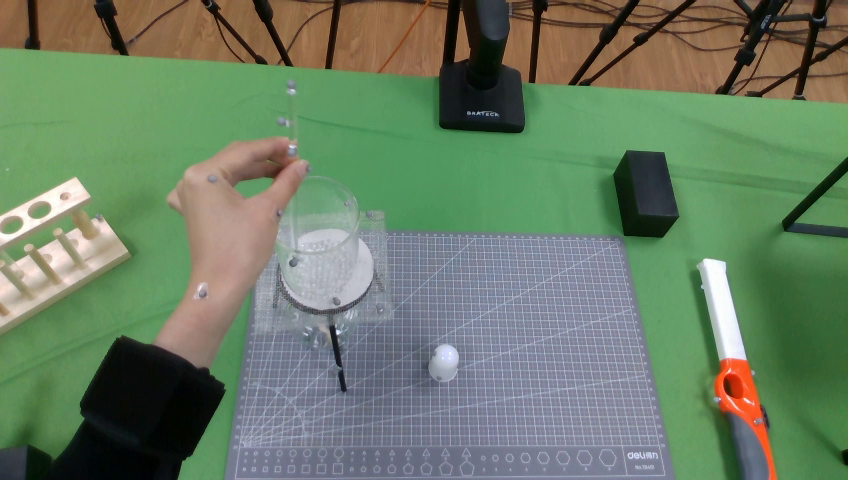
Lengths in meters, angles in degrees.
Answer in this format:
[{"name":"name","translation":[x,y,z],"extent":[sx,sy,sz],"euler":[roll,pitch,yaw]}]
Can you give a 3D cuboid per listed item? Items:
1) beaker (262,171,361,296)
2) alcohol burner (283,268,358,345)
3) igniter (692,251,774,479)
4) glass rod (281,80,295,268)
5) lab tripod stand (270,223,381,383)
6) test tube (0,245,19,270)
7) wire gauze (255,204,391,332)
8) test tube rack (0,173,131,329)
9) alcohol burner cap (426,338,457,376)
[{"name":"beaker","translation":[-0.095,-0.002,0.521],"extent":[0.084,0.101,0.073],"euler":[24,61,8]},{"name":"alcohol burner","translation":[-0.107,0.062,0.627],"extent":[0.078,0.120,0.077],"euler":[4,58,-5]},{"name":"igniter","translation":[0.342,0.136,0.678],"extent":[0.057,0.025,0.274],"euler":[9,59,-12]},{"name":"glass rod","translation":[-0.107,-0.040,0.477],"extent":[0.008,0.201,0.008],"euler":[6,49,-6]},{"name":"lab tripod stand","translation":[-0.097,0.058,0.619],"extent":[0.148,0.132,0.147],"euler":[3,60,-5]},{"name":"test tube","translation":[-0.442,-0.012,0.601],"extent":[0.017,0.151,0.017],"euler":[3,55,-4]},{"name":"wire gauze","translation":[-0.095,0.021,0.565],"extent":[0.121,0.011,0.124],"euler":[-4,64,-6]},{"name":"test tube rack","translation":[-0.448,0.036,0.630],"extent":[0.242,0.086,0.066],"euler":[-36,69,-23]},{"name":"alcohol burner cap","translation":[0.020,0.123,0.645],"extent":[0.034,0.048,0.033],"euler":[2,60,-3]}]
